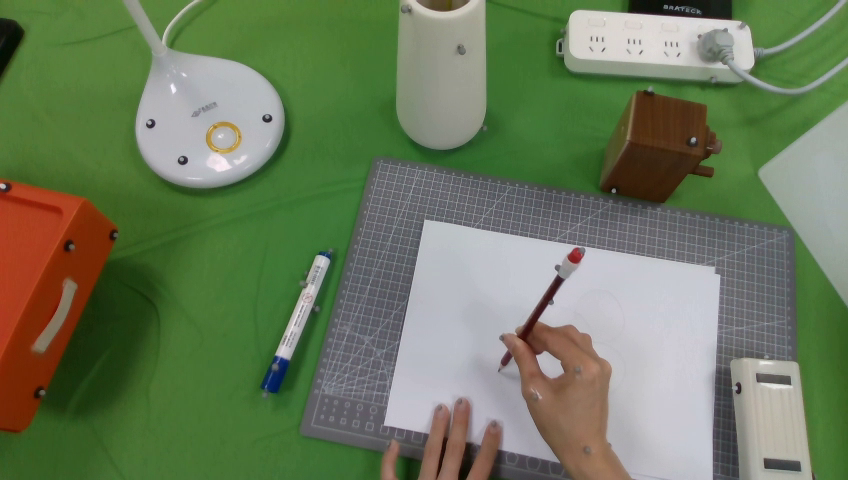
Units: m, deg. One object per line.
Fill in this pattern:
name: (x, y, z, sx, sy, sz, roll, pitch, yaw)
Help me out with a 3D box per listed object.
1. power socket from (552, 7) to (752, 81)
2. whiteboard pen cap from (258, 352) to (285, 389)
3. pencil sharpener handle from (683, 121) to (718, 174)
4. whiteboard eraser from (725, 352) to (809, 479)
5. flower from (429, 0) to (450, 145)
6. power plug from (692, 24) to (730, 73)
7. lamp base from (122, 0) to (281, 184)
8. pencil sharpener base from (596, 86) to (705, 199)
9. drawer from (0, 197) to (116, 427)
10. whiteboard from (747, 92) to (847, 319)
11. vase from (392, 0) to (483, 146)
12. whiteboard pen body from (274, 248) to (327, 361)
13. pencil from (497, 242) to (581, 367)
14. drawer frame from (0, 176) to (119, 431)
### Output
power socket: (0.264, -0.227, 0.700, 0.227, 0.033, 0.071, 5, 69, 1)
whiteboard pen cap: (-0.141, 0.121, 0.566, 0.018, 0.018, 0.033, 15, 64, 6)
pencil sharpener handle: (0.276, -0.087, 0.593, 0.030, 0.068, 0.036, 13, 67, 5)
whiteboard eraser: (0.304, 0.158, 0.543, 0.055, 0.042, 0.112, 5, 69, 0)
flower: (0.022, -0.222, 0.522, 0.038, 0.364, 0.043, -2, 50, -8)
power plug: (0.312, -0.204, 0.667, 0.035, 0.053, 0.072, 14, 71, 6)
lamp base: (-0.248, -0.170, 0.599, 0.160, 0.181, 0.178, -43, 71, -15)
pencil sharpener base: (0.226, -0.094, 0.609, 0.076, 0.108, 0.061, 13, 69, 5)
drawer: (-0.413, 0.038, 0.524, 0.211, 0.074, 0.193, 13, 70, 5)
whiteboard: (0.498, -0.071, 0.527, 0.144, 0.306, 0.215, -13, 67, -25)
vase: (0.012, -0.177, 0.592, 0.098, 0.201, 0.097, 0, 68, 2)
whiteboard pen body: (-0.123, 0.071, 0.590, 0.017, 0.017, 0.140, 14, 66, 6)
pencil: (0.088, 0.062, 0.503, 0.012, 0.195, 0.012, 7, 52, -9)
drawer frame: (-0.419, 0.039, 0.526, 0.213, 0.083, 0.200, 13, 70, 3)
